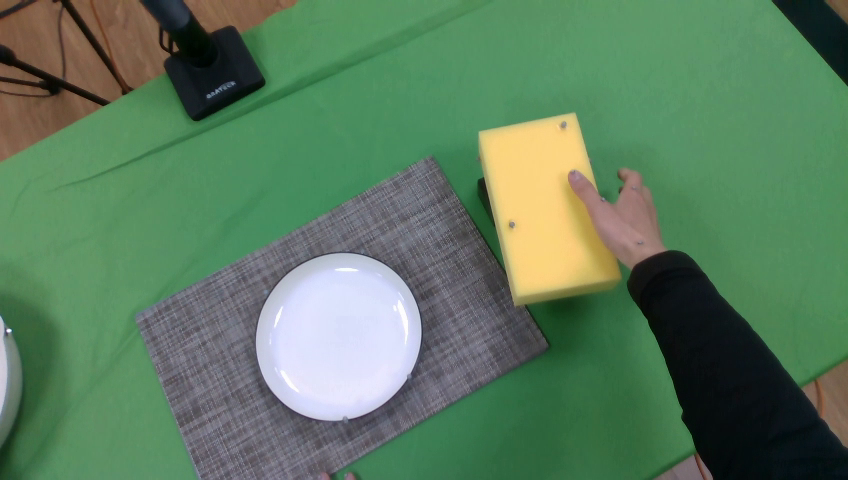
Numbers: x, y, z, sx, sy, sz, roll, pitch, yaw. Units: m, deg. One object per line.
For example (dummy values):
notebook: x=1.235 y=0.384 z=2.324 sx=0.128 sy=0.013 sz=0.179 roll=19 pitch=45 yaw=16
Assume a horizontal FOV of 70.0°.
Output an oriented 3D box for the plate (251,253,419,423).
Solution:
plate: x=-0.108 y=0.120 z=0.752 sx=0.207 sy=0.039 sz=0.206 roll=-1 pitch=74 yaw=4

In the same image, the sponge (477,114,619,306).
sponge: x=0.141 y=-0.036 z=0.715 sx=0.118 sy=0.061 sz=0.205 roll=-12 pitch=73 yaw=1

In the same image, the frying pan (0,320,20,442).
frying pan: x=-0.585 y=0.269 z=0.719 sx=0.307 sy=0.103 sz=0.483 roll=-37 pitch=66 yaw=-5
